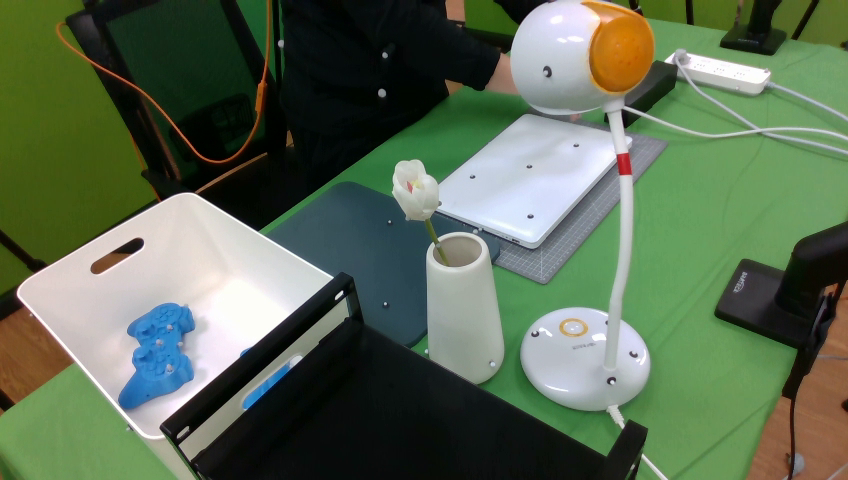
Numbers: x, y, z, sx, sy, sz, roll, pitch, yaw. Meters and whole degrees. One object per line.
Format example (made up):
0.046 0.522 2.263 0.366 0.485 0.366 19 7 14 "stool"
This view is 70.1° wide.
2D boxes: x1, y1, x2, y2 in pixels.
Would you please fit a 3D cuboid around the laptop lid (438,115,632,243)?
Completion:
0.189 -0.126 1.081 0.239 0.013 0.358 23 48 35 "laptop lid"

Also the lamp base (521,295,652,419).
0.201 0.095 0.710 0.161 0.181 0.178 -16 43 -10 "lamp base"

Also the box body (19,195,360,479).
-0.288 0.118 0.772 0.361 0.161 0.255 26 50 33 "box body"

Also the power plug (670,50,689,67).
0.540 -0.379 1.303 0.073 0.053 0.035 -32 46 -22 "power plug"

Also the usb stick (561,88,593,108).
0.281 -0.266 1.121 0.059 0.027 0.021 17 8 -7 "usb stick"

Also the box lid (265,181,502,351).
-0.087 0.023 0.971 0.368 0.015 0.264 23 49 31 "box lid"

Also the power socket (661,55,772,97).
0.618 -0.353 1.290 0.225 0.033 0.072 27 51 33 "power socket"

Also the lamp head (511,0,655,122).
0.155 -0.168 0.563 0.113 0.113 0.122 -18 23 -12 "lamp head"

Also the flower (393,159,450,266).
0.028 0.036 0.664 0.043 0.364 0.038 35 73 29 "flower"

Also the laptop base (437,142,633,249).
0.193 -0.116 1.087 0.233 0.023 0.355 21 47 34 "laptop base"

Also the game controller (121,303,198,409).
-0.364 0.149 0.828 0.097 0.052 0.154 -13 41 -9 "game controller"

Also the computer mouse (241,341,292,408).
-0.201 0.177 0.776 0.063 0.041 0.116 -11 44 -8 "computer mouse"

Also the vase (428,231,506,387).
0.050 0.087 0.728 0.098 0.201 0.097 -3 40 3 "vase"
